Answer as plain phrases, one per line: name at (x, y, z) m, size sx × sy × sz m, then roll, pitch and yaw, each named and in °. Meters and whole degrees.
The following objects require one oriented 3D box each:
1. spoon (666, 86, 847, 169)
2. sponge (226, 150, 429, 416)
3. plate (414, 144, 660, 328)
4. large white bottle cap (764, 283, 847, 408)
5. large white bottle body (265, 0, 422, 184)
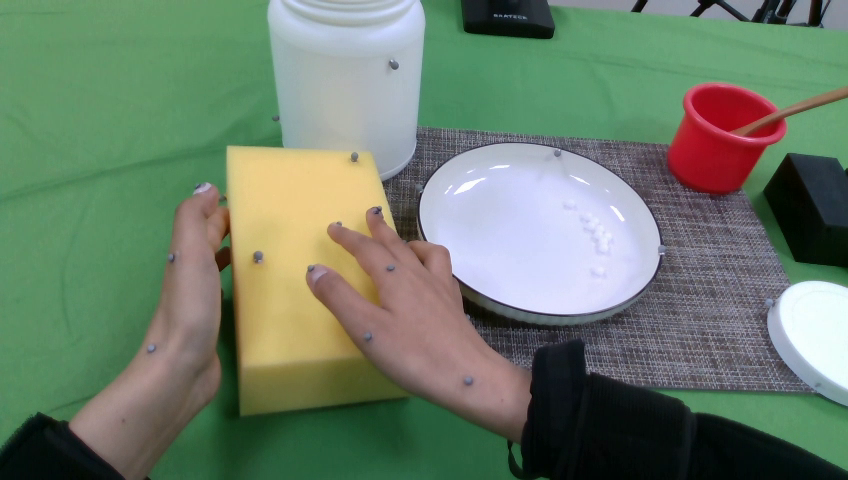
spoon at (0.332, -0.112, 0.582) m, size 0.193 × 0.022 × 0.041 m, roll -24°, pitch 35°, yaw 32°
sponge at (-0.083, 0.020, 0.453) m, size 0.119 × 0.061 × 0.204 m, roll -2°, pitch 47°, yaw -20°
plate at (0.094, -0.005, 0.525) m, size 0.209 × 0.038 × 0.207 m, roll 4°, pitch 47°, yaw -4°
large white bottle cap at (0.336, 0.083, 0.488) m, size 0.115 × 0.018 × 0.113 m, roll 5°, pitch 47°, yaw -5°
large white bottle body at (-0.070, -0.153, 0.540) m, size 0.131 × 0.186 × 0.129 m, roll 3°, pitch 47°, yaw -3°
